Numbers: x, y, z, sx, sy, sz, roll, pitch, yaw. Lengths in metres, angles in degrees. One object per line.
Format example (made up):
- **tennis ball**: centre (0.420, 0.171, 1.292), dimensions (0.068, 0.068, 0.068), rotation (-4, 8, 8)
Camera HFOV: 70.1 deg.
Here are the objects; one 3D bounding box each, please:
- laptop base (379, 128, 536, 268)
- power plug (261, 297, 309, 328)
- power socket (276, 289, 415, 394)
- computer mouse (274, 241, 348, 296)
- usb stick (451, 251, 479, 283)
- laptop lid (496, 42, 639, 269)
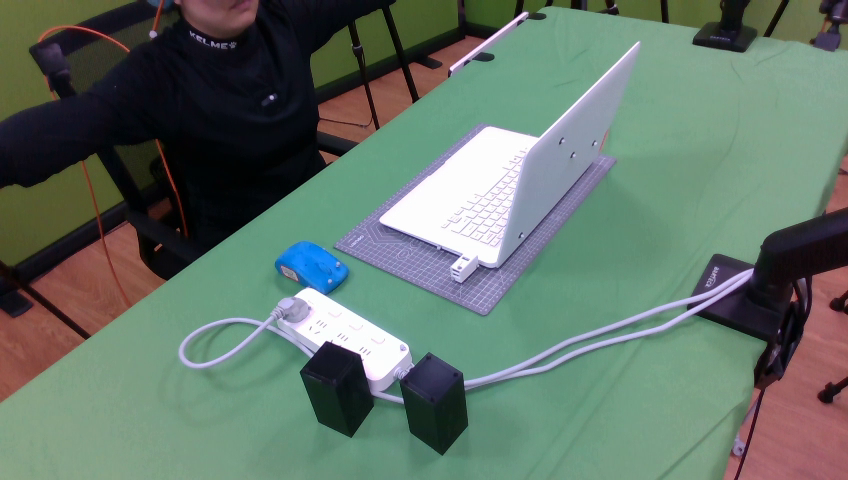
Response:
- **laptop base**: centre (0.118, -0.088, 1.058), dimensions (0.233, 0.023, 0.355), rotation (19, 47, 32)
- **power plug**: centre (-0.193, 0.107, 0.831), dimensions (0.073, 0.053, 0.035), rotation (-32, 43, -25)
- **power socket**: centre (-0.114, 0.133, 0.820), dimensions (0.225, 0.033, 0.072), rotation (25, 49, 33)
- **computer mouse**: centre (-0.176, 0.040, 0.936), dimensions (0.116, 0.041, 0.063), rotation (27, 48, 27)
- **usb stick**: centre (0.065, 0.036, 0.900), dimensions (0.021, 0.027, 0.059), rotation (24, 46, 31)
- **laptop lid**: centre (0.220, -0.130, 0.912), dimensions (0.013, 0.242, 0.357), rotation (31, 51, 21)
